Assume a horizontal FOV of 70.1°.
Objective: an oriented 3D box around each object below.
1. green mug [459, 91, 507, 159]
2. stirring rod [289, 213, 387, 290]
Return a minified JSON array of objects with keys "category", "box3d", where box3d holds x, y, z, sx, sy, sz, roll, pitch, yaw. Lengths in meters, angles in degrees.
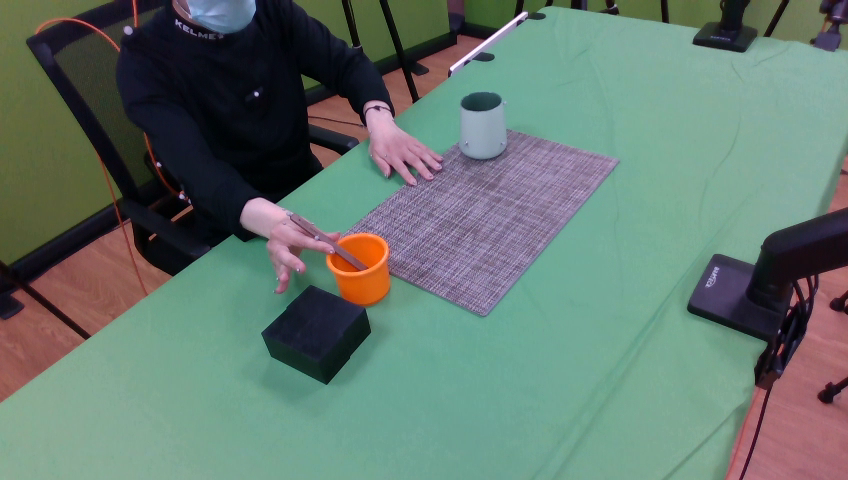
[{"category":"green mug","box3d":[0.116,-0.225,1.144,0.092,0.105,0.125,14,45,23]},{"category":"stirring rod","box3d":[-0.123,0.018,0.878,0.177,0.006,0.014,39,36,-14]}]
